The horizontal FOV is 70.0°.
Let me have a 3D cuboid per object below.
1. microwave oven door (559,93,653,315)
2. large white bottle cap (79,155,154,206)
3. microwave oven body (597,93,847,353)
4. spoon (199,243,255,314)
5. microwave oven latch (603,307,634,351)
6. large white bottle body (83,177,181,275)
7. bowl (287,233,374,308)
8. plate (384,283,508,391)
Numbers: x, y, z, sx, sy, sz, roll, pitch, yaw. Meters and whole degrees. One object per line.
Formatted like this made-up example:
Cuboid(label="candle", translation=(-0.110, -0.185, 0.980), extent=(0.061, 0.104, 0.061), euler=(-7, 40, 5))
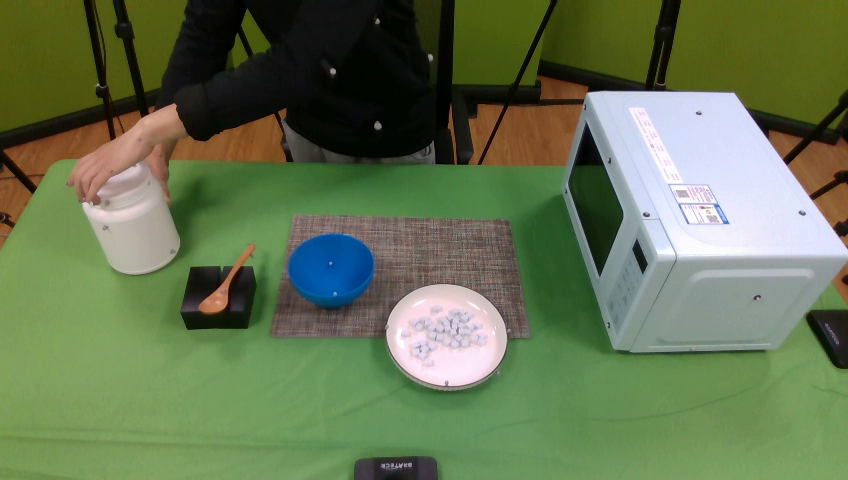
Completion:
Cuboid(label="microwave oven door", translation=(0.327, -0.074, 1.123), extent=(0.039, 0.245, 0.353), euler=(-1, 46, -5))
Cuboid(label="large white bottle cap", translation=(-0.519, -0.103, 1.025), extent=(0.115, 0.018, 0.114), euler=(2, 47, -2))
Cuboid(label="microwave oven body", translation=(0.475, -0.041, 1.109), extent=(0.326, 0.261, 0.438), euler=(-1, 45, -4))
Cuboid(label="spoon", translation=(-0.333, 0.062, 1.051), extent=(0.041, 0.022, 0.193), euler=(6, 40, 9))
Cuboid(label="microwave oven latch", translation=(0.332, 0.153, 1.044), extent=(0.030, 0.029, 0.078), euler=(0, 45, -4))
Cuboid(label="large white bottle body", translation=(-0.524, -0.043, 1.087), extent=(0.131, 0.185, 0.130), euler=(2, 45, -2))
Cuboid(label="bowl", translation=(-0.164, 0.068, 1.078), extent=(0.151, 0.077, 0.150), euler=(2, 45, -2))
Cuboid(label="plate", translation=(0.036, 0.166, 1.028), extent=(0.209, 0.038, 0.208), euler=(2, 49, -2))
